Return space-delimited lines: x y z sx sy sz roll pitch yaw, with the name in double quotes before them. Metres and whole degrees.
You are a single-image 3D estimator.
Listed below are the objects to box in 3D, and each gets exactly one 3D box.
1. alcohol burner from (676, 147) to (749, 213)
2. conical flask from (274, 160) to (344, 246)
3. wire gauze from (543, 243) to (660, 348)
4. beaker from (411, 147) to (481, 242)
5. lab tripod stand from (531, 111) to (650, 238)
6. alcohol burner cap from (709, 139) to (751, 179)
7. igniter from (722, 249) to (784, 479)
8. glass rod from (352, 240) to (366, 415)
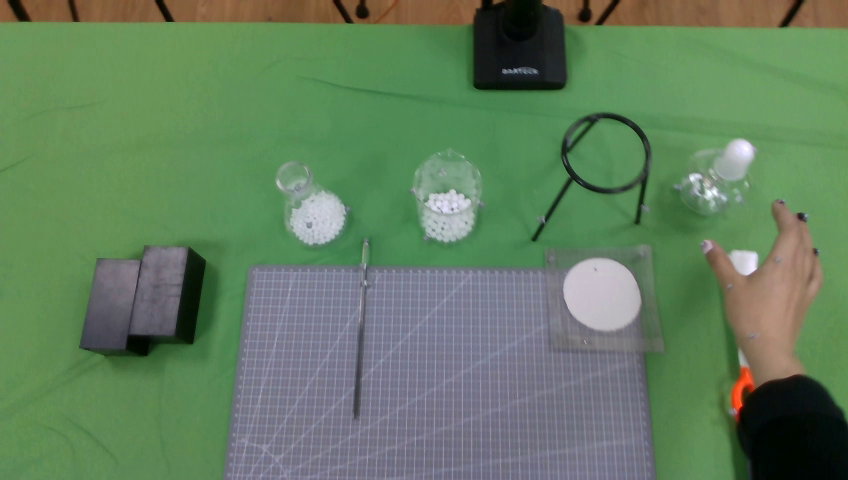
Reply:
"alcohol burner" 0.331 -0.076 0.680 0.078 0.120 0.077 -1 73 3
"conical flask" -0.134 -0.046 0.675 0.075 0.122 0.075 0 71 1
"wire gauze" 0.201 0.062 0.690 0.125 0.011 0.120 0 71 1
"beaker" 0.024 -0.047 0.685 0.074 0.101 0.083 3 70 2
"lab tripod stand" 0.182 -0.066 0.669 0.148 0.132 0.147 0 73 1
"alcohol burner cap" 0.329 -0.090 0.647 0.034 0.048 0.033 -2 68 6
"igniter" 0.351 0.143 0.651 0.057 0.025 0.275 6 72 -7
"glass rod" -0.073 0.094 0.683 0.008 0.008 0.198 1 71 1
